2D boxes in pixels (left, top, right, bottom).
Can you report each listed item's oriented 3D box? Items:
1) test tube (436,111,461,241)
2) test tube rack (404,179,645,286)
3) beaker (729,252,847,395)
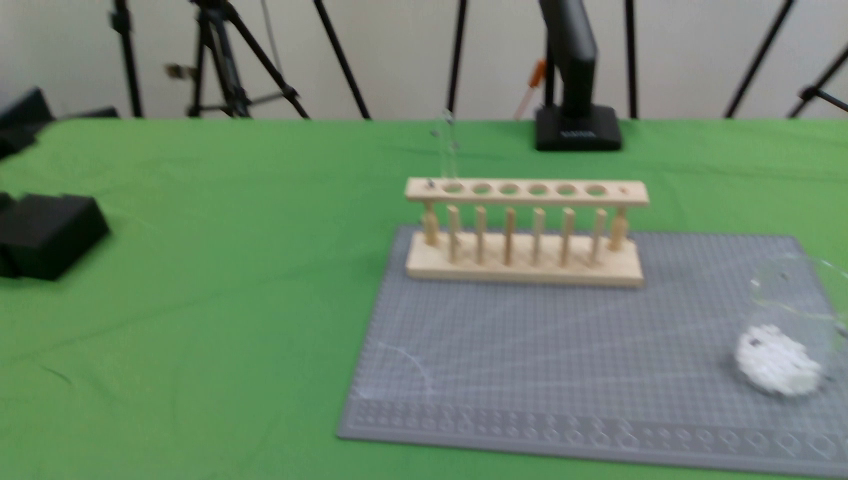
[{"bbox_3d":[0.027,-0.063,0.632,0.017,0.151,0.017,-5,35,4],"label":"test tube"},{"bbox_3d":[0.101,-0.009,0.637,0.242,0.086,0.066,2,38,8],"label":"test tube rack"},{"bbox_3d":[0.296,0.072,0.499,0.084,0.101,0.073,-10,37,-5],"label":"beaker"}]
